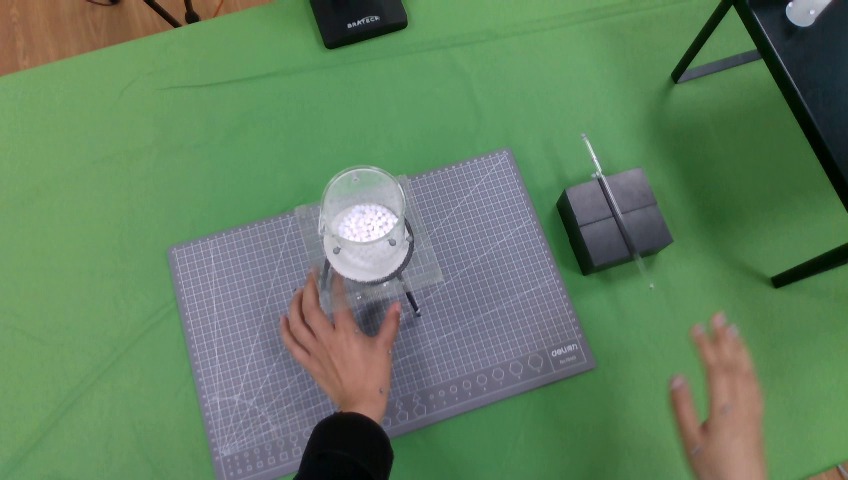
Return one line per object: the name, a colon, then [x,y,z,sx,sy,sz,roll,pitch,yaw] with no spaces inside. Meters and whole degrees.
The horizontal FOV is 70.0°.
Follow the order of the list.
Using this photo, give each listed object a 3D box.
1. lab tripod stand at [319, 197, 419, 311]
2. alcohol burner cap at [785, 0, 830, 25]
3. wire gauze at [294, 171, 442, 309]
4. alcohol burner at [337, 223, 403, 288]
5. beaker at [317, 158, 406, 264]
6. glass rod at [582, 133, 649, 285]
lab tripod stand: [-0.057,0.013,0.679,0.148,0.132,0.147,0,72,0]
alcohol burner cap: [0.403,-0.251,0.627,0.034,0.048,0.033,1,73,-2]
wire gauze: [-0.058,-0.001,0.614,0.125,0.011,0.121,-16,76,-8]
alcohol burner: [-0.062,0.013,0.689,0.078,0.119,0.077,1,75,-2]
beaker: [-0.057,-0.020,0.570,0.084,0.101,0.073,-33,77,-10]
glass rod: [0.226,-0.040,0.718,0.008,0.008,0.198,-17,76,-6]
